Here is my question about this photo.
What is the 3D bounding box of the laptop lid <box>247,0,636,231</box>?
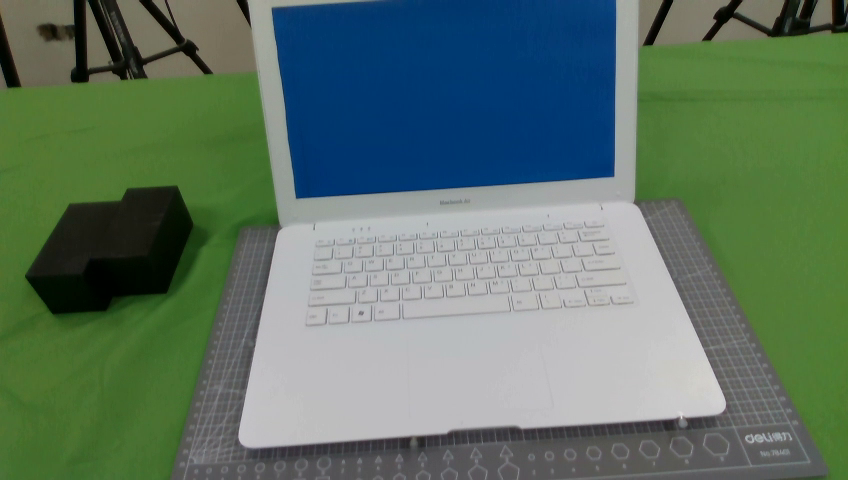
[{"bbox_3d":[0.023,-0.129,0.571,0.357,0.242,0.013,-5,15,0],"label":"laptop lid"}]

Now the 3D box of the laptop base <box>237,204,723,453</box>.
[{"bbox_3d":[0.036,0.062,0.517,0.354,0.023,0.233,-4,46,0],"label":"laptop base"}]
